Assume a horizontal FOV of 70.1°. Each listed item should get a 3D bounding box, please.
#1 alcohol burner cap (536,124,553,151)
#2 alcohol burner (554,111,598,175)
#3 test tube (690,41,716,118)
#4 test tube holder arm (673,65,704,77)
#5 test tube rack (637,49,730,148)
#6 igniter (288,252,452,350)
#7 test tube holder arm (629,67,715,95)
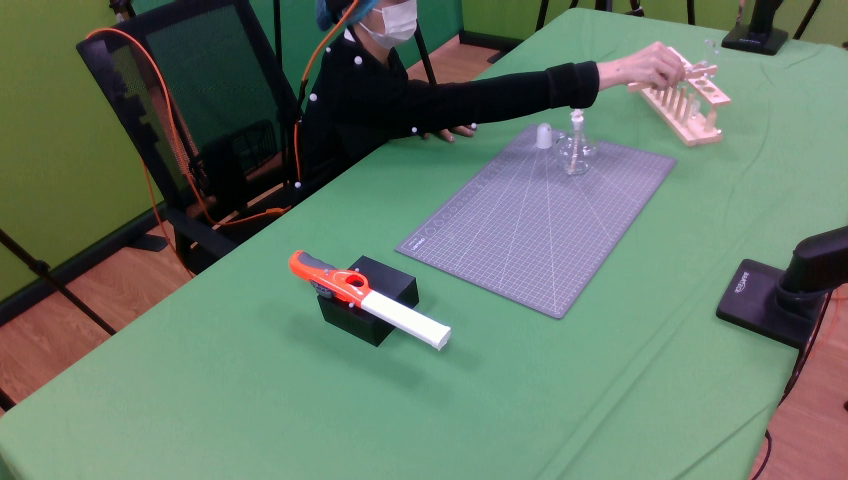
[{"bbox_3d":[0.231,-0.199,1.158,0.034,0.048,0.033,-5,41,5],"label":"alcohol burner cap"},{"bbox_3d":[0.270,-0.175,1.066,0.078,0.119,0.077,-4,42,4],"label":"alcohol burner"},{"bbox_3d":[0.513,-0.293,1.117,0.017,0.151,0.017,-3,42,4],"label":"test tube"},{"bbox_3d":[0.478,-0.300,1.093,0.088,0.015,0.010,-27,36,-30],"label":"test tube holder arm"},{"bbox_3d":[0.497,-0.283,1.185,0.067,0.085,0.240,-10,40,-2],"label":"test tube rack"},{"bbox_3d":[-0.084,0.077,0.821,0.274,0.025,0.057,23,48,27],"label":"igniter"},{"bbox_3d":[0.441,-0.283,1.073,0.179,0.015,0.013,-17,30,-16],"label":"test tube holder arm"}]
